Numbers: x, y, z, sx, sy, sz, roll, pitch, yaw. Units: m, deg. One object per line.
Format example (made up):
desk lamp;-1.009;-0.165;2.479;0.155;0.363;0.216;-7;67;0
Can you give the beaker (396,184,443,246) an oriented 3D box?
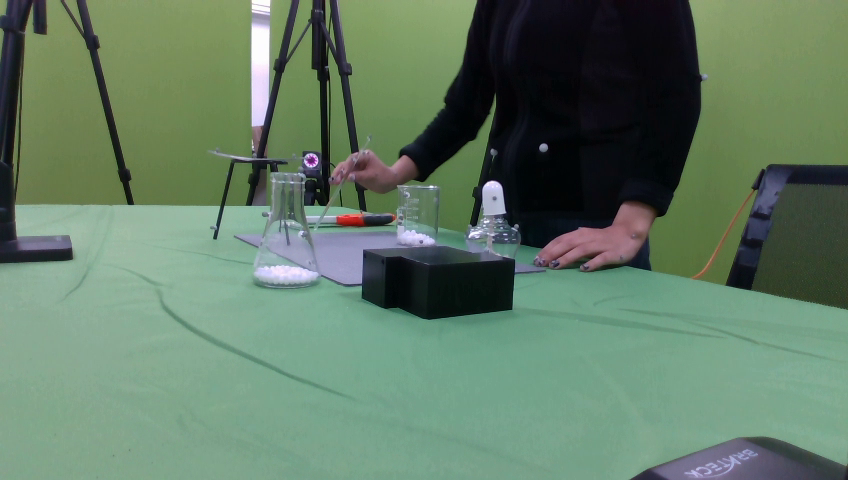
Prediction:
beaker;-0.011;-0.043;1.004;0.083;0.100;0.074;8;9;38

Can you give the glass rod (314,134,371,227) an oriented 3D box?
glass rod;-0.150;-0.109;1.110;0.008;0.199;0.008;31;6;-3

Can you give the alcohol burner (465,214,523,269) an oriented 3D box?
alcohol burner;0.094;-0.022;0.815;0.078;0.119;0.078;0;7;0

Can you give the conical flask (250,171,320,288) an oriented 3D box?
conical flask;-0.150;-0.013;0.658;0.075;0.122;0.075;2;7;0

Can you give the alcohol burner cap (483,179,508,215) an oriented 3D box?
alcohol burner cap;0.094;-0.057;0.810;0.034;0.048;0.034;-8;6;1

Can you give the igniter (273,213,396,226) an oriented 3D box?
igniter;-0.178;-0.044;1.258;0.278;0.025;0.057;-3;-1;-39

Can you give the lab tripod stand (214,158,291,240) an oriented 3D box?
lab tripod stand;-0.268;-0.068;1.002;0.148;0.131;0.148;3;6;0

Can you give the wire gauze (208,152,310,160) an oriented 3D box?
wire gauze;-0.270;-0.135;0.993;0.124;0.011;0.122;8;8;41
